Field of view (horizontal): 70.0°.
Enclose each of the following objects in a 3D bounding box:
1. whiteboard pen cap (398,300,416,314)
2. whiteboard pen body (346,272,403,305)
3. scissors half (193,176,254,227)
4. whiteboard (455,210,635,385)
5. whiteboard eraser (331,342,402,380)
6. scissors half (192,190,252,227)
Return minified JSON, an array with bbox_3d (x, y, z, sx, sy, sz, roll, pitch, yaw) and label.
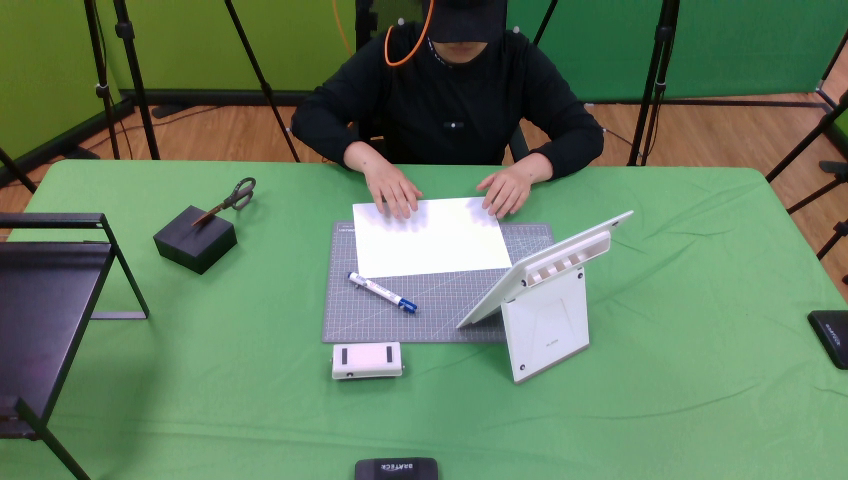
[{"bbox_3d":[-0.031,0.118,1.081,0.033,0.018,0.018,24,49,20],"label":"whiteboard pen cap"},{"bbox_3d":[-0.081,0.092,1.098,0.140,0.017,0.017,26,50,17],"label":"whiteboard pen body"},{"bbox_3d":[-0.388,-0.075,1.174,0.013,0.040,0.174,29,47,8],"label":"scissors half"},{"bbox_3d":[0.211,0.111,0.955,0.217,0.306,0.143,-21,72,-23],"label":"whiteboard"},{"bbox_3d":[-0.094,0.198,0.986,0.113,0.042,0.055,-2,44,-6],"label":"whiteboard eraser"},{"bbox_3d":[-0.393,-0.060,1.187,0.013,0.040,0.175,25,29,11],"label":"scissors half"}]
